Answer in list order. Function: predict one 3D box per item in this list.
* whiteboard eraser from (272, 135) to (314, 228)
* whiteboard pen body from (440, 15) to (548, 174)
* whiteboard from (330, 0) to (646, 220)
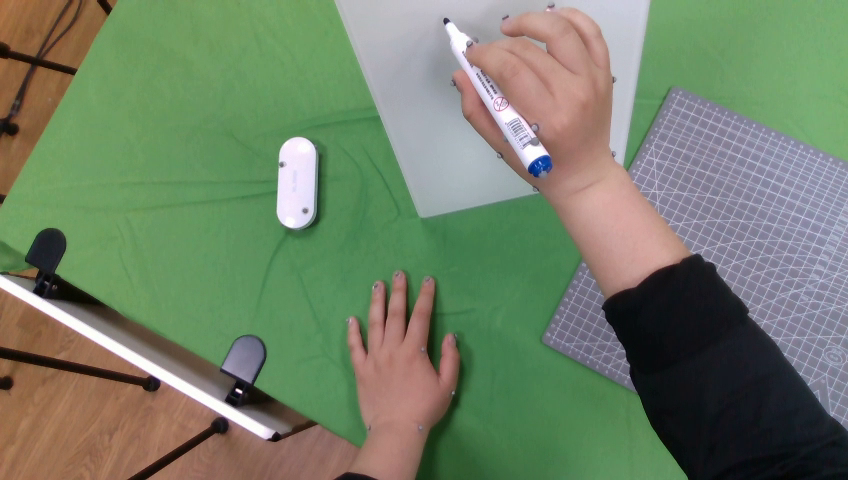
[{"bbox_3d":[-0.142,-0.064,0.658,0.041,0.019,0.101,0,83,6],"label":"whiteboard eraser"},{"bbox_3d":[0.040,-0.098,0.386,0.017,0.017,0.139,-28,64,3],"label":"whiteboard pen body"},{"bbox_3d":[0.060,-0.176,0.539,0.217,0.308,0.142,-12,60,6],"label":"whiteboard"}]
